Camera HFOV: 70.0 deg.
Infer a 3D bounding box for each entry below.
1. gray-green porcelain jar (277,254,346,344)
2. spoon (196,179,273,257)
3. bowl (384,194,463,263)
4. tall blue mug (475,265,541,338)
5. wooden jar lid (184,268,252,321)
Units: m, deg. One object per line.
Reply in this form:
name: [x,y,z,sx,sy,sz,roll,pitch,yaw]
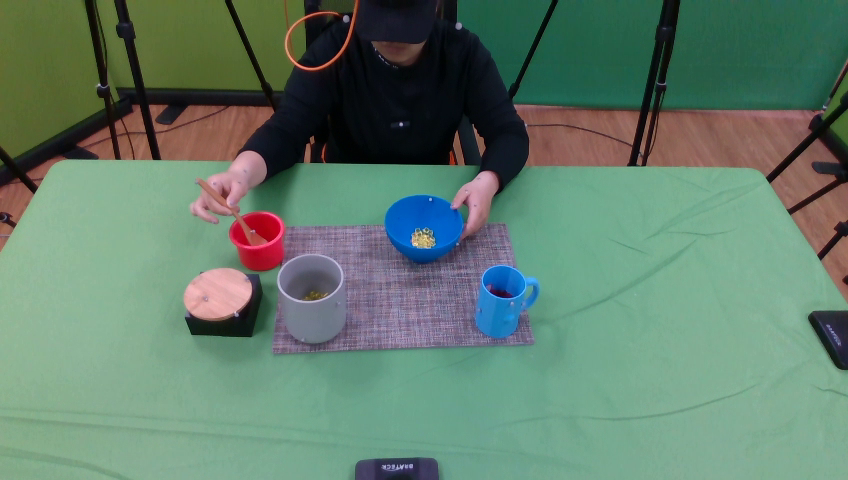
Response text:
gray-green porcelain jar: [-0.184,0.102,1.008,0.106,0.127,0.105,2,46,-2]
spoon: [-0.333,-0.039,1.075,0.021,0.195,0.041,-19,36,19]
bowl: [-0.002,-0.010,1.164,0.151,0.077,0.150,2,46,-2]
tall blue mug: [0.142,0.098,1.047,0.077,0.108,0.107,33,53,27]
wooden jar lid: [-0.343,0.092,1.015,0.108,0.021,0.107,3,46,-3]
